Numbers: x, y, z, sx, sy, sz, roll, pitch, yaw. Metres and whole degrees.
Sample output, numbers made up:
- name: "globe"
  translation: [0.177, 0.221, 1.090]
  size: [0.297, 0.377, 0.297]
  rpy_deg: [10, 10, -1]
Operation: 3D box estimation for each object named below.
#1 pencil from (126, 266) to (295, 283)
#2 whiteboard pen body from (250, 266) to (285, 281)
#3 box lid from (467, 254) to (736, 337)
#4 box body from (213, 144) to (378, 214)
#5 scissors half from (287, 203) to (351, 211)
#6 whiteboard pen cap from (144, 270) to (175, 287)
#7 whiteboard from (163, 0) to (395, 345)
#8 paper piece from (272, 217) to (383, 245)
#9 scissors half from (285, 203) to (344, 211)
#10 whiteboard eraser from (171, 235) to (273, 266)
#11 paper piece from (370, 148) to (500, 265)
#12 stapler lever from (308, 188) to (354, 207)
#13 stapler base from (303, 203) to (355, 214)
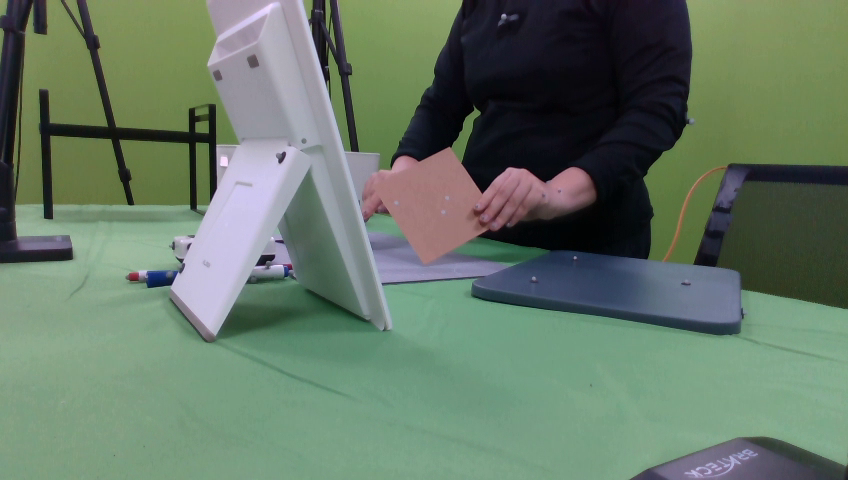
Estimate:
- name: "pencil"
  translation: [-0.232, 0.037, 0.690]
  size: [0.195, 0.012, 0.012]
  rpy_deg: [-2, 9, -34]
- name: "whiteboard pen body"
  translation: [-0.221, 0.039, 0.656]
  size: [0.141, 0.017, 0.017]
  rpy_deg: [-2, 9, -31]
- name: "box lid"
  translation: [0.233, 0.055, 0.735]
  size: [0.262, 0.015, 0.373]
  rpy_deg: [6, 8, 26]
- name: "box body"
  translation: [-0.329, -0.154, 1.543]
  size: [0.366, 0.160, 0.253]
  rpy_deg: [-2, 9, -32]
- name: "scissors half"
  translation: [-0.269, -0.081, 1.534]
  size: [0.176, 0.013, 0.040]
  rpy_deg: [-7, 10, -24]
- name: "whiteboard pen cap"
  translation: [-0.272, 0.039, 0.627]
  size: [0.033, 0.018, 0.018]
  rpy_deg: [-2, 9, -32]
- name: "whiteboard"
  translation: [-0.173, -0.053, 0.510]
  size: [0.144, 0.305, 0.216]
  rpy_deg: [-23, 19, -26]
- name: "paper piece"
  translation: [-0.158, -0.012, 0.978]
  size: [0.135, 0.008, 0.139]
  rpy_deg: [-11, 2, 43]
- name: "scissors half"
  translation: [-0.281, -0.083, 1.552]
  size: [0.040, 0.013, 0.176]
  rpy_deg: [-1, 6, 45]
- name: "whiteboard eraser"
  translation: [-0.249, 0.014, 0.747]
  size: [0.113, 0.042, 0.055]
  rpy_deg: [-1, 10, -32]
- name: "paper piece"
  translation: [0.016, -0.049, 0.830]
  size: [0.136, 0.135, 0.004]
  rpy_deg: [-28, -13, -23]
- name: "stapler lever"
  translation: [-0.231, -0.106, 1.508]
  size: [0.119, 0.040, 0.026]
  rpy_deg: [4, 10, -35]
- name: "stapler base"
  translation: [-0.235, -0.081, 1.510]
  size: [0.131, 0.024, 0.041]
  rpy_deg: [3, 10, -35]
